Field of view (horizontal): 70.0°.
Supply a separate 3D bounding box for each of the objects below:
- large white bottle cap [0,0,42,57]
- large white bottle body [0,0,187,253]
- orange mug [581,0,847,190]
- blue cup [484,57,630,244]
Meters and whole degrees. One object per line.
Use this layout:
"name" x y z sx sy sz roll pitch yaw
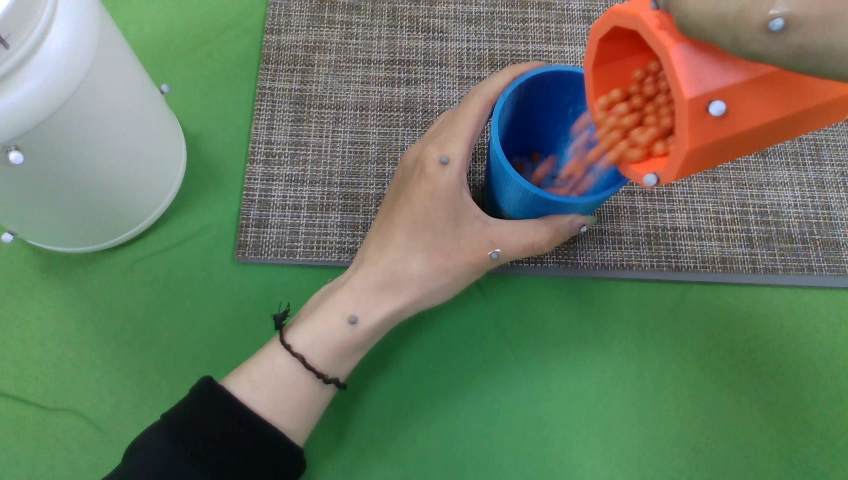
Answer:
"large white bottle cap" -0.224 -0.111 0.258 0.115 0.018 0.114 1 70 -2
"large white bottle body" -0.226 -0.080 0.337 0.131 0.185 0.129 1 70 -2
"orange mug" 0.137 -0.089 0.275 0.101 0.127 0.082 -22 60 -5
"blue cup" 0.075 -0.042 0.374 0.093 0.101 0.092 1 70 -3
